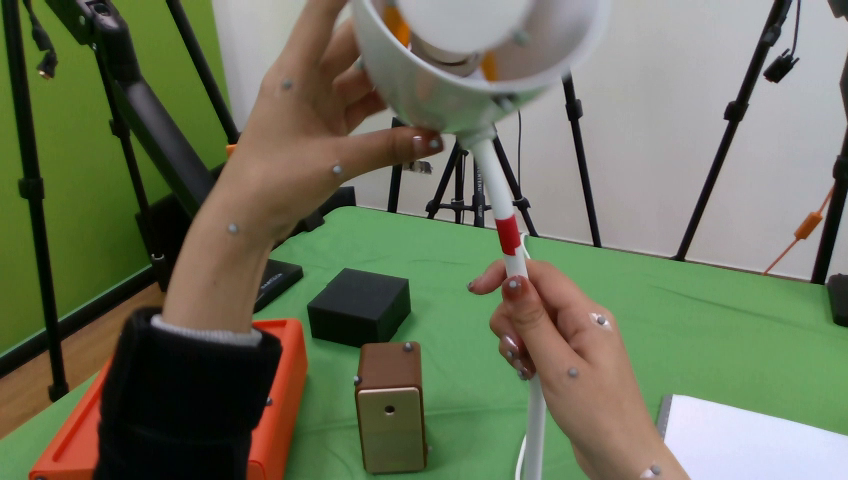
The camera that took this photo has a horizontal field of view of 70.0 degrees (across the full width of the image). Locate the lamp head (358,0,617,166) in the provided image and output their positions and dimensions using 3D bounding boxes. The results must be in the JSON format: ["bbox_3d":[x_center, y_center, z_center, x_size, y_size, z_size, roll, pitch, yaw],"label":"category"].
[{"bbox_3d":[0.020,-0.099,0.301,0.113,0.112,0.123,-9,-13,-12],"label":"lamp head"}]

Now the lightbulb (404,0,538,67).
[{"bbox_3d":[0.018,-0.108,0.277,0.059,0.059,0.107,-6,-4,-6],"label":"lightbulb"}]

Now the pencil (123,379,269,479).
[{"bbox_3d":[-0.232,0.193,0.587,0.194,0.012,0.012,-35,40,-28],"label":"pencil"}]

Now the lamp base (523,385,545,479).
[{"bbox_3d":[0.078,0.205,0.416,0.161,0.181,0.178,-5,23,-3],"label":"lamp base"}]

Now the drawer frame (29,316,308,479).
[{"bbox_3d":[-0.235,0.173,0.615,0.202,0.083,0.211,-4,27,-1],"label":"drawer frame"}]

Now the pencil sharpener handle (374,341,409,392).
[{"bbox_3d":[-0.034,0.126,0.634,0.036,0.068,0.030,2,28,-3],"label":"pencil sharpener handle"}]

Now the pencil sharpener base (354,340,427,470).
[{"bbox_3d":[-0.030,0.160,0.594,0.061,0.108,0.076,-3,28,0],"label":"pencil sharpener base"}]

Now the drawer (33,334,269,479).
[{"bbox_3d":[-0.233,0.176,0.613,0.194,0.074,0.210,-3,26,0],"label":"drawer"}]
